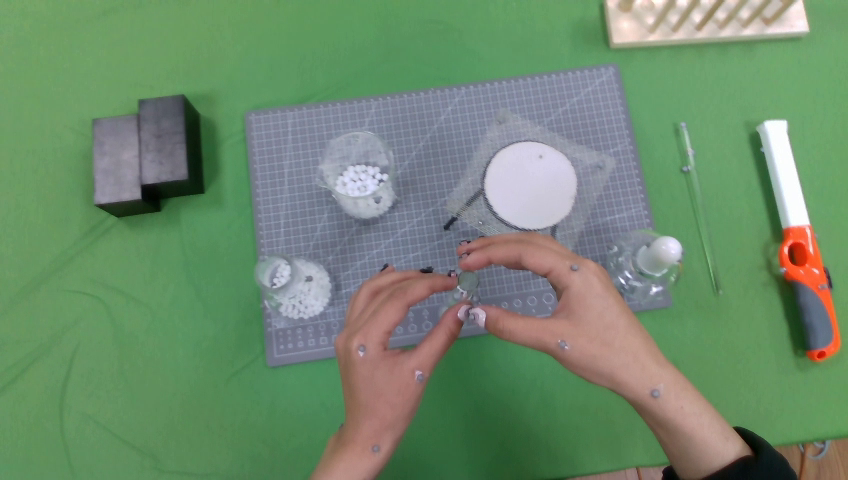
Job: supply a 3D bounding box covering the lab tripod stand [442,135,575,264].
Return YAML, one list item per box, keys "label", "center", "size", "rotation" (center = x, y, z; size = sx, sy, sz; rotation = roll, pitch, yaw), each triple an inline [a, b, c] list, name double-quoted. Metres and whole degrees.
- label: "lab tripod stand"
  center: [0.093, -0.041, 0.628]
  size: [0.148, 0.132, 0.148]
  rotation: [0, 80, 1]

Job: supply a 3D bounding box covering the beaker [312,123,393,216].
- label: "beaker"
  center: [-0.072, -0.069, 0.649]
  size: [0.084, 0.100, 0.073]
  rotation: [-24, 79, -5]

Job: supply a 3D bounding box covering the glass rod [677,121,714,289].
- label: "glass rod"
  center: [0.313, -0.042, 0.699]
  size: [0.008, 0.008, 0.199]
  rotation: [-7, 81, -2]

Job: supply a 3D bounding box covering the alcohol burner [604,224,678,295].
- label: "alcohol burner"
  center: [0.230, 0.017, 0.629]
  size: [0.078, 0.119, 0.077]
  rotation: [0, 78, 2]

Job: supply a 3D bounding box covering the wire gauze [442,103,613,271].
- label: "wire gauze"
  center: [0.096, -0.053, 0.562]
  size: [0.125, 0.011, 0.121]
  rotation: [28, 81, 5]

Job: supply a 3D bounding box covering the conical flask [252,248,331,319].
- label: "conical flask"
  center: [-0.139, 0.039, 0.614]
  size: [0.075, 0.122, 0.075]
  rotation: [0, 78, -1]

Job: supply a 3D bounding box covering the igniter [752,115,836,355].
- label: "igniter"
  center: [0.417, -0.010, 0.684]
  size: [0.057, 0.025, 0.275]
  rotation: [-4, 78, -12]

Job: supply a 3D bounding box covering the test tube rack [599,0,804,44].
- label: "test tube rack"
  center: [0.340, -0.291, 0.710]
  size: [0.242, 0.085, 0.066]
  rotation: [-5, 78, -1]

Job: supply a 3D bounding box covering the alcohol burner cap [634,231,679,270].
- label: "alcohol burner cap"
  center: [0.230, 0.008, 0.594]
  size: [0.034, 0.048, 0.033]
  rotation: [1, 71, -2]

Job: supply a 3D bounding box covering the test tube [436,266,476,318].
- label: "test tube"
  center: [0.023, 0.044, 0.477]
  size: [0.017, 0.151, 0.017]
  rotation: [1, 75, -4]
